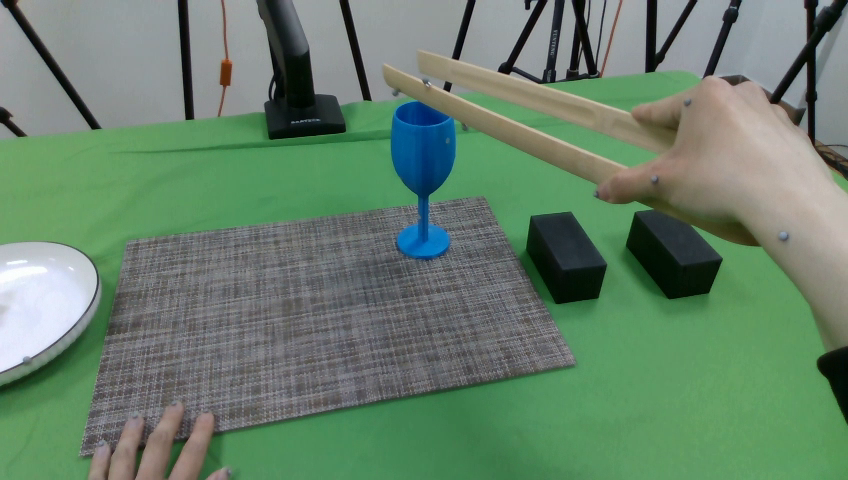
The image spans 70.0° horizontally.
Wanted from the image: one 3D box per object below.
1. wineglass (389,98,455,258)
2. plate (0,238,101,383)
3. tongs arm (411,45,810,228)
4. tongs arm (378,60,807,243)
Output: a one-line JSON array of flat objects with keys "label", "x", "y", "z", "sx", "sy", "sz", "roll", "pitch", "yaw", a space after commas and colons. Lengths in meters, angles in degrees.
[{"label": "wineglass", "x": -0.002, "y": -0.067, "z": 0.682, "sx": 0.074, "sy": 0.174, "sz": 0.073, "roll": 1, "pitch": 39, "yaw": 0}, {"label": "plate", "x": -0.433, "y": 0.075, "z": 0.608, "sx": 0.209, "sy": 0.038, "sz": 0.207, "roll": 1, "pitch": 39, "yaw": 0}, {"label": "tongs arm", "x": 0.113, "y": -0.103, "z": 0.491, "sx": 0.028, "sy": 0.028, "sz": 0.383, "roll": -31, "pitch": 45, "yaw": -29}, {"label": "tongs arm", "x": 0.093, "y": -0.089, "z": 0.478, "sx": 0.051, "sy": 0.027, "sz": 0.380, "roll": -31, "pitch": 45, "yaw": -25}]
